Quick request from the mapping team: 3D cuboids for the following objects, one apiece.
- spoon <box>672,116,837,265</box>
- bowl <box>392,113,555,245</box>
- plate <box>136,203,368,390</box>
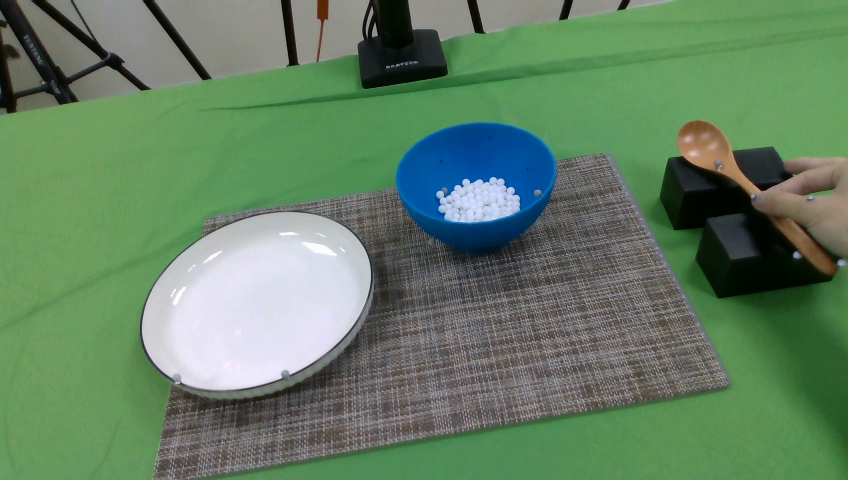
[{"bbox_3d":[0.281,-0.049,0.526,0.041,0.022,0.191,-21,47,-5],"label":"spoon"},{"bbox_3d":[0.049,-0.048,0.587,0.151,0.077,0.150,-4,46,5],"label":"bowl"},{"bbox_3d":[-0.151,0.050,0.555,0.207,0.039,0.205,-4,46,5],"label":"plate"}]
